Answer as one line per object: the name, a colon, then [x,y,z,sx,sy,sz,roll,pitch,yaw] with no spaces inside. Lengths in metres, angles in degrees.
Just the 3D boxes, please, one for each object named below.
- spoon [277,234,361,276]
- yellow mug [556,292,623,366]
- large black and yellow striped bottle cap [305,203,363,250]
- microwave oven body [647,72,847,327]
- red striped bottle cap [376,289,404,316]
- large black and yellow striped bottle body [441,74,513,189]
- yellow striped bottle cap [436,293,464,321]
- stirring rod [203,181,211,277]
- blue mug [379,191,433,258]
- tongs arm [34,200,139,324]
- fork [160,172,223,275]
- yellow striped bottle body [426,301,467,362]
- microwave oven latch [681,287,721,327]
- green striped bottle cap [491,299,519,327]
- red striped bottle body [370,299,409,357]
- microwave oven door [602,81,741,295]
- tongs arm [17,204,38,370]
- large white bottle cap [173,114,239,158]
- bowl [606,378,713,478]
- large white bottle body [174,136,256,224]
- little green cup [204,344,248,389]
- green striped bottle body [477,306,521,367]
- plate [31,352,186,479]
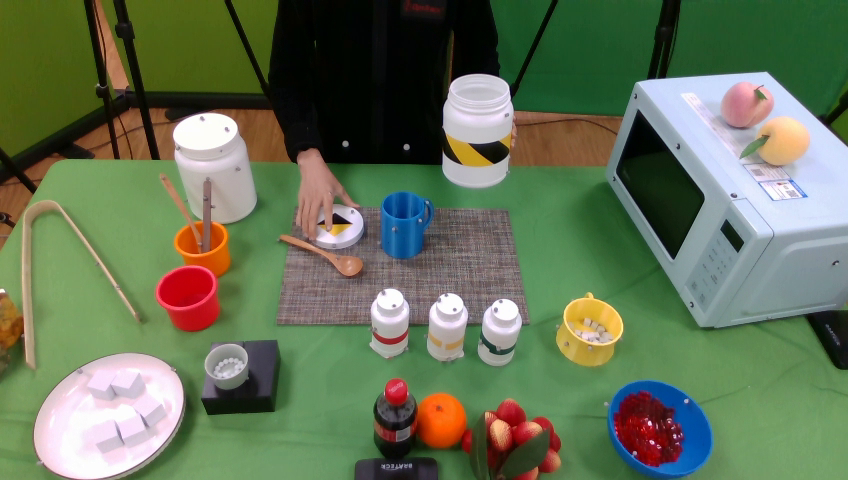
spoon: [-0.202,0.023,1.155,0.193,0.022,0.041,23,71,17]
yellow mug: [0.285,0.145,1.051,0.100,0.064,0.130,7,45,3]
large black and yellow striped bottle cap: [-0.180,-0.029,1.211,0.115,0.019,0.114,2,47,-2]
microwave oven body: [0.607,-0.089,1.164,0.326,0.261,0.438,-7,46,-10]
red striped bottle cap: [-0.054,0.098,0.958,0.044,0.018,0.044,0,48,0]
large black and yellow striped bottle body: [0.098,-0.205,1.144,0.131,0.185,0.130,0,41,0]
yellow striped bottle cap: [0.041,0.106,0.959,0.044,0.019,0.044,-1,49,1]
stirring rod: [-0.396,-0.021,1.107,0.014,0.006,0.176,-1,89,-1]
blue mug: [-0.031,-0.035,1.167,0.116,0.106,0.082,-26,54,-27]
tongs arm: [-0.622,0.034,1.105,0.051,0.026,0.382,-32,55,-26]
fork: [-0.425,-0.030,1.103,0.028,0.018,0.207,-29,98,-19]
yellow striped bottle body: [0.037,0.142,0.996,0.063,0.121,0.062,2,46,-2]
microwave oven latch: [0.494,0.119,1.087,0.030,0.029,0.078,-6,46,-9]
green striped bottle cap: [0.128,0.115,0.958,0.044,0.020,0.044,1,47,-1]
red striped bottle body: [-0.057,0.135,0.997,0.063,0.120,0.062,2,47,-2]
microwave oven door: [0.456,-0.107,1.162,0.039,0.245,0.353,-7,47,-11]
tongs arm: [-0.698,0.069,1.068,0.028,0.028,0.385,-20,50,-13]
large white bottle cap: [-0.403,-0.195,1.122,0.115,0.018,0.114,2,47,-2]
bowl: [0.340,0.292,0.906,0.151,0.077,0.150,2,46,-2]
large white bottle body: [-0.408,-0.137,1.183,0.131,0.185,0.130,2,46,-2]
little green cup: [-0.294,0.191,0.909,0.061,0.039,0.061,1,48,-1]
green striped bottle body: [0.124,0.151,0.995,0.063,0.120,0.063,2,46,-2]
plate: [-0.459,0.262,0.898,0.209,0.038,0.208,2,46,-2]
